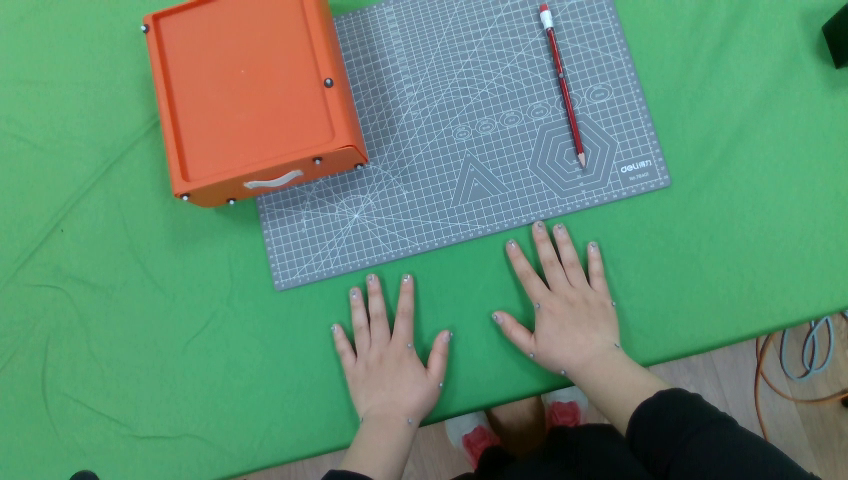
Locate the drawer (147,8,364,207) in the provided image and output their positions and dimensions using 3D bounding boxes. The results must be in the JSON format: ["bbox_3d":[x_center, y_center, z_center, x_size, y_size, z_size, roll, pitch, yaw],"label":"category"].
[{"bbox_3d":[-0.187,-0.162,0.673,0.194,0.073,0.211,-15,80,6],"label":"drawer"}]

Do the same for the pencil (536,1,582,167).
[{"bbox_3d":[0.151,-0.173,0.670,0.012,0.012,0.193,-13,84,5],"label":"pencil"}]

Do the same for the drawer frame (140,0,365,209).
[{"bbox_3d":[-0.189,-0.164,0.673,0.201,0.083,0.212,-16,80,6],"label":"drawer frame"}]
